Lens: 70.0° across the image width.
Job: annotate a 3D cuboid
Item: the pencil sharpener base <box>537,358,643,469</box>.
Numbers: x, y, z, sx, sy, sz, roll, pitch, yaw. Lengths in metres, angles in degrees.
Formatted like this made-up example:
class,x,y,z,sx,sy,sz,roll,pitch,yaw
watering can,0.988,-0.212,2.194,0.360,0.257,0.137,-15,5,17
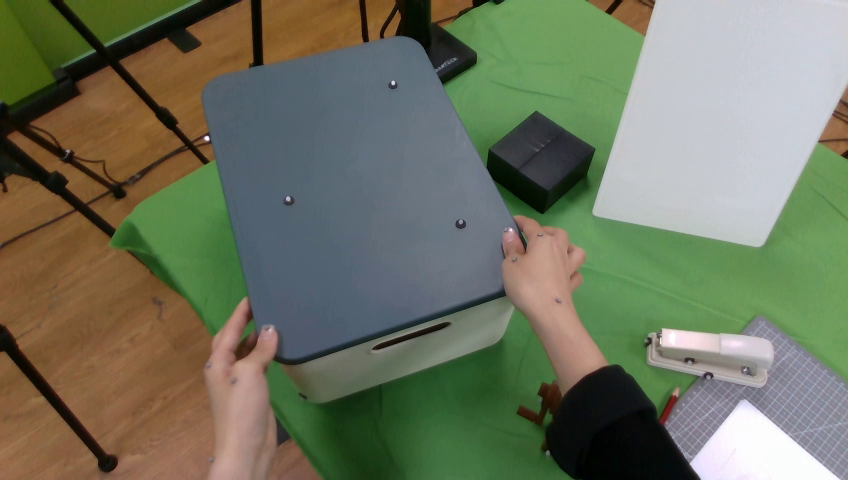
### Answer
class,x,y,z,sx,sy,sz,roll,pitch,yaw
pencil sharpener base,0.158,0.172,0.598,0.076,0.108,0.061,22,60,14

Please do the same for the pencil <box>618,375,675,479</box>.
class,x,y,z,sx,sy,sz,roll,pitch,yaw
pencil,0.222,0.215,0.627,0.012,0.012,0.193,31,62,18

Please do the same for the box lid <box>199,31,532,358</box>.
class,x,y,z,sx,sy,sz,roll,pitch,yaw
box lid,-0.075,-0.076,0.626,0.264,0.015,0.367,-17,60,-12

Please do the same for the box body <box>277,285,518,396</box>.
class,x,y,z,sx,sy,sz,roll,pitch,yaw
box body,-0.075,-0.033,0.693,0.254,0.162,0.360,-17,59,-11

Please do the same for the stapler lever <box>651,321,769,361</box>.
class,x,y,z,sx,sy,sz,roll,pitch,yaw
stapler lever,0.312,0.108,0.660,0.118,0.040,0.026,10,54,9

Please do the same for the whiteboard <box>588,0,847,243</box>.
class,x,y,z,sx,sy,sz,roll,pitch,yaw
whiteboard,0.349,-0.176,0.743,0.217,0.308,0.143,12,39,8

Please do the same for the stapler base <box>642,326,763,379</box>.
class,x,y,z,sx,sy,sz,roll,pitch,yaw
stapler base,0.314,0.122,0.680,0.130,0.024,0.041,10,54,10

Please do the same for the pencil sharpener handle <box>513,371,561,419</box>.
class,x,y,z,sx,sy,sz,roll,pitch,yaw
pencil sharpener handle,0.109,0.150,0.596,0.030,0.068,0.036,22,39,14
